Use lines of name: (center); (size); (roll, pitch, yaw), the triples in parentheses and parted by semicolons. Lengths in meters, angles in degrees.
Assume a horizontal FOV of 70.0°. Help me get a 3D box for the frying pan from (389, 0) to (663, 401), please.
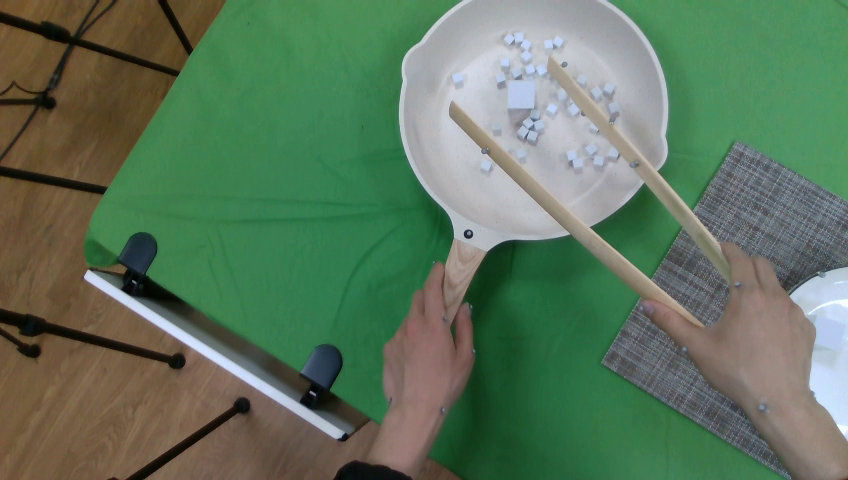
frying pan: (0.071, -0.054, 0.670); (0.306, 0.103, 0.486); (24, 78, 8)

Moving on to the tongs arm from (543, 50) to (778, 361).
tongs arm: (0.209, -0.055, 0.598); (0.051, 0.027, 0.381); (-24, 62, -16)

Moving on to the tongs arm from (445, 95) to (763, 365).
tongs arm: (0.147, -0.023, 0.579); (0.028, 0.028, 0.384); (-33, 64, -23)

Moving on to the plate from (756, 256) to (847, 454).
plate: (0.459, 0.121, 0.646); (0.207, 0.039, 0.207); (-1, 84, 5)
